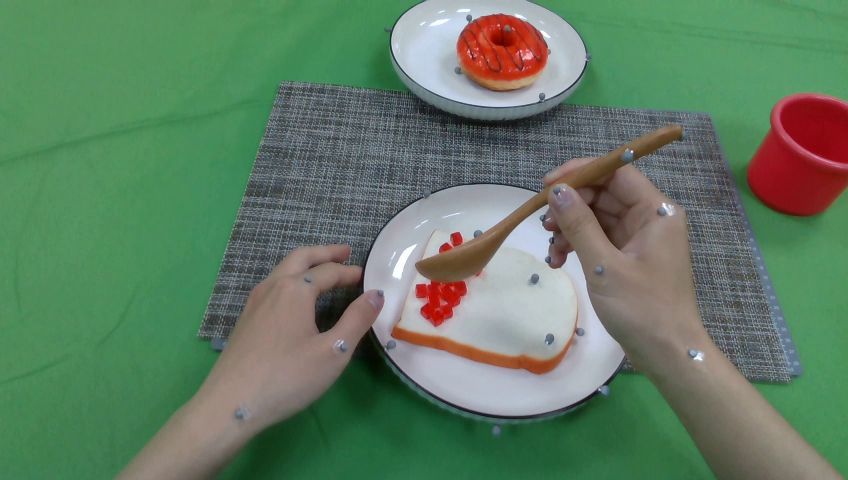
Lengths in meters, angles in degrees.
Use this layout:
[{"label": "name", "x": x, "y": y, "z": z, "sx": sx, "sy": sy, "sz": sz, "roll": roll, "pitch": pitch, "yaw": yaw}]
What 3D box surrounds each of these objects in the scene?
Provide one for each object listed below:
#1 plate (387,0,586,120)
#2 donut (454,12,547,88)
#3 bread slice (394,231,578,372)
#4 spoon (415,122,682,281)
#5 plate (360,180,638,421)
[{"label": "plate", "x": 0.065, "y": -0.194, "z": 0.645, "sx": 0.208, "sy": 0.039, "sz": 0.205, "roll": 2, "pitch": 52, "yaw": -3}, {"label": "donut", "x": 0.080, "y": -0.199, "z": 0.635, "sx": 0.099, "sy": 0.048, "sz": 0.098, "roll": 2, "pitch": 54, "yaw": -3}, {"label": "bread slice", "x": 0.053, "y": 0.046, "z": 0.469, "sx": 0.131, "sy": 0.019, "sz": 0.104, "roll": 13, "pitch": 54, "yaw": 9}, {"label": "spoon", "x": 0.068, "y": -0.019, "z": 0.377, "sx": 0.042, "sy": 0.194, "sz": 0.021, "roll": 24, "pitch": 42, "yaw": -40}, {"label": "plate", "x": 0.056, "y": 0.041, "z": 0.468, "sx": 0.209, "sy": 0.038, "sz": 0.207, "roll": 2, "pitch": 53, "yaw": -2}]
